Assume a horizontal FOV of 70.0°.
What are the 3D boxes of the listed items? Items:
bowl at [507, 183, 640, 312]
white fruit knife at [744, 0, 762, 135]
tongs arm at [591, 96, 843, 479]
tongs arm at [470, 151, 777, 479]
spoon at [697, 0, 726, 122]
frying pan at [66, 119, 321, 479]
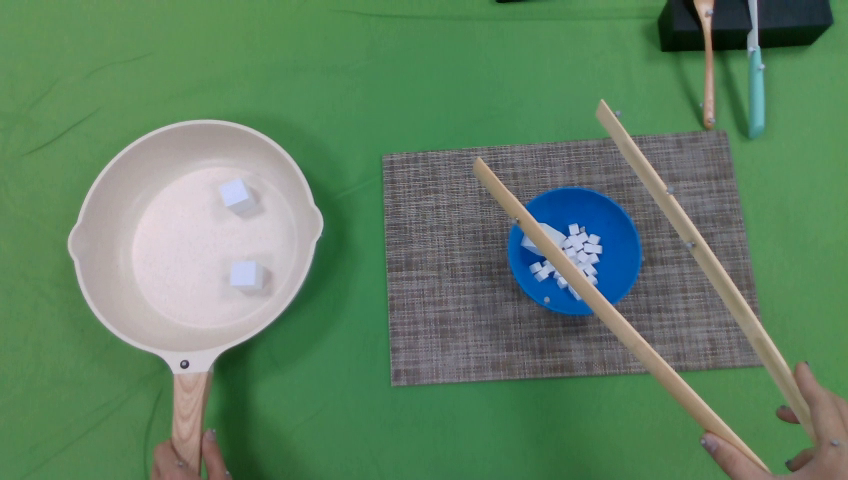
[{"bbox_3d":[0.170,0.016,0.719,0.151,0.077,0.150,0,76,2],"label":"bowl"},{"bbox_3d":[0.417,-0.240,0.772,0.016,0.027,0.207,-3,91,-3],"label":"white fruit knife"},{"bbox_3d":[0.233,0.029,0.529,0.051,0.027,0.381,-22,68,-16],"label":"tongs arm"},{"bbox_3d":[0.165,0.062,0.508,0.028,0.028,0.385,-33,71,-24],"label":"tongs arm"},{"bbox_3d":[0.361,-0.250,0.771,0.041,0.022,0.194,7,99,29],"label":"spoon"},{"bbox_3d":[-0.268,0.093,0.711,0.307,0.103,0.484,-4,68,2],"label":"frying pan"}]
